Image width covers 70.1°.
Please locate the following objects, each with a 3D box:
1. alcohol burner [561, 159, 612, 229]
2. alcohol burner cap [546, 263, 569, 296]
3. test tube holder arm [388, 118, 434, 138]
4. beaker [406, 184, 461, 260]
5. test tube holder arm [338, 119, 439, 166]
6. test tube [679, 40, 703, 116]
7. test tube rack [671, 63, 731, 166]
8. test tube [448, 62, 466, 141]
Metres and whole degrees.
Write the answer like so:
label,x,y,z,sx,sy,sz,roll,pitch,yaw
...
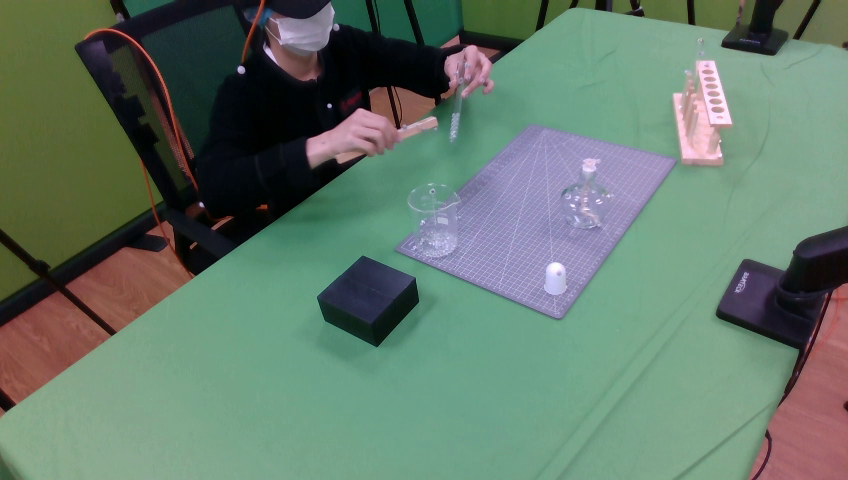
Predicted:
label,x,y,z,sx,sy,sz,roll,pitch,yaw
alcohol burner,0.257,-0.077,0.951,0.078,0.119,0.077,-3,40,3
alcohol burner cap,0.191,0.053,0.862,0.034,0.048,0.033,-5,40,4
test tube holder arm,-0.020,-0.180,1.002,0.088,0.015,0.010,-27,24,-21
beaker,0.019,-0.026,0.939,0.084,0.101,0.074,1,41,9
test tube holder arm,-0.056,-0.160,0.983,0.179,0.015,0.013,-25,23,-17
test tube,0.502,-0.303,1.138,0.017,0.151,0.017,-3,40,3
test tube rack,0.513,-0.241,1.132,0.066,0.085,0.242,4,41,14
test tube,0.056,-0.238,1.053,0.017,0.150,0.017,4,41,-3
